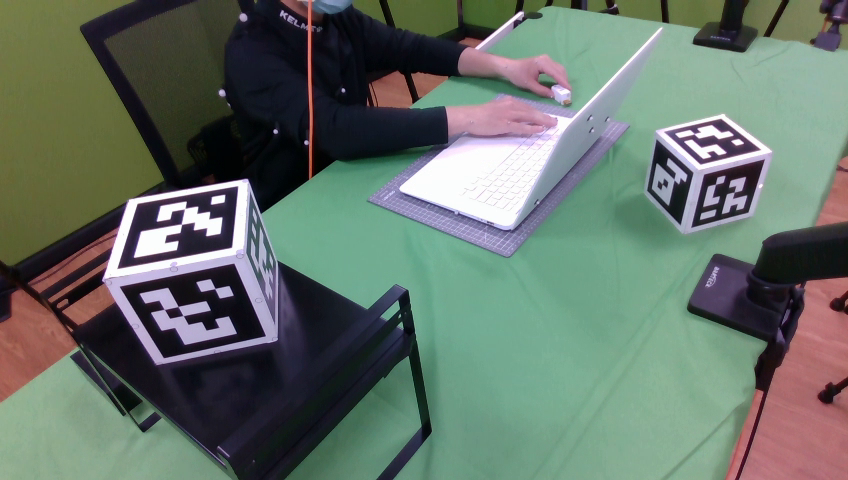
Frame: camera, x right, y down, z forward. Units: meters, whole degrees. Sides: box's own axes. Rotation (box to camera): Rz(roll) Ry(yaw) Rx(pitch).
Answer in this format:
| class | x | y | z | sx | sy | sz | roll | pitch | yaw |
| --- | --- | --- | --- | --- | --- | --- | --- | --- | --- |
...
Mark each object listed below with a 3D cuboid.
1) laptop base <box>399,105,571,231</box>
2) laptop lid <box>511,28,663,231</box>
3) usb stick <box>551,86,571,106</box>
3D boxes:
| class | x | y | z | sx | sy | sz | roll | pitch | yaw |
| --- | --- | --- | --- | --- | --- | --- | --- | --- | --- |
| laptop base | 0.149 | -0.147 | 1.123 | 0.233 | 0.023 | 0.355 | 20 | 47 | 32 |
| laptop lid | 0.265 | -0.179 | 0.972 | 0.013 | 0.242 | 0.357 | 36 | 53 | 14 |
| usb stick | 0.292 | -0.303 | 1.278 | 0.021 | 0.027 | 0.058 | -15 | 42 | -16 |
